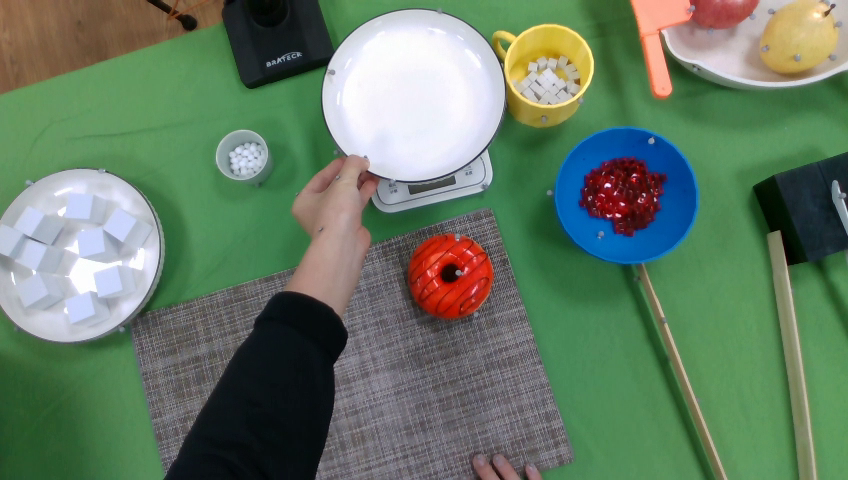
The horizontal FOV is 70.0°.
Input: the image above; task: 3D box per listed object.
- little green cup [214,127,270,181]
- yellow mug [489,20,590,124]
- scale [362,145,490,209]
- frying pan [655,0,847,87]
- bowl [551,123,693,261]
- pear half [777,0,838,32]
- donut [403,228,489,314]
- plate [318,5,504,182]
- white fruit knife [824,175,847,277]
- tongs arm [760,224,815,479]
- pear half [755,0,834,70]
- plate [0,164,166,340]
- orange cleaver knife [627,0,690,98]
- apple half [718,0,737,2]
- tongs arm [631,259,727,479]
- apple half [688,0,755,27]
[{"bbox_3d":[-0.215,-0.100,0.725,0.061,0.039,0.061,0,81,3],"label":"little green cup"},{"bbox_3d":[0.127,-0.204,0.711,0.130,0.064,0.100,40,86,8],"label":"yellow mug"},{"bbox_3d":[-0.012,-0.146,0.726,0.149,0.031,0.200,-13,82,1],"label":"scale"},{"bbox_3d":[0.454,-0.240,0.682,0.306,0.103,0.485,-44,74,-3],"label":"frying pan"},{"bbox_3d":[0.212,-0.047,0.679,0.151,0.077,0.151,0,83,2],"label":"bowl"},{"bbox_3d":[0.432,-0.257,0.688,0.070,0.088,0.031,14,82,10],"label":"pear half"},{"bbox_3d":[0.025,0.035,0.689,0.099,0.048,0.099,0,83,4],"label":"donut"},{"bbox_3d":[-0.014,-0.163,0.687,0.209,0.038,0.208,0,78,2],"label":"plate"},{"bbox_3d":[0.464,0.029,0.657,0.016,0.027,0.208,-19,96,1],"label":"white fruit knife"},{"bbox_3d":[0.400,0.175,0.668,0.028,0.028,0.386,-2,82,-7],"label":"tongs arm"},{"bbox_3d":[0.417,-0.227,0.675,0.076,0.110,0.056,18,83,9],"label":"pear half"},{"bbox_3d":[-0.404,0.014,0.717,0.207,0.039,0.207,0,82,2],"label":"plate"},{"bbox_3d":[0.255,-0.264,0.676,0.077,0.012,0.210,-13,82,3],"label":"orange cleaver knife"},{"bbox_3d":[0.353,-0.314,0.707,0.081,0.081,0.033,23,86,6],"label":"apple half"},{"bbox_3d":[0.315,0.192,0.663,0.051,0.026,0.383,-17,82,-6],"label":"tongs arm"},{"bbox_3d":[0.338,-0.279,0.703,0.081,0.075,0.053,24,87,3],"label":"apple half"}]
